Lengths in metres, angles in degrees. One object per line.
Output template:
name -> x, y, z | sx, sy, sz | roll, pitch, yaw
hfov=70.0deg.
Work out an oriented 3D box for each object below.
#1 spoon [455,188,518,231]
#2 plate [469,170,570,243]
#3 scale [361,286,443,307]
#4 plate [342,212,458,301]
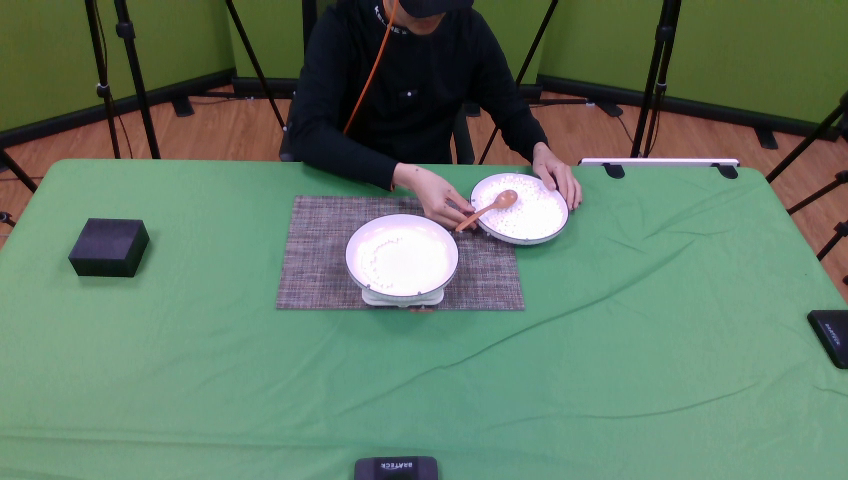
spoon -> 0.126, -0.063, 1.225 | 0.041, 0.022, 0.194 | 35, 44, 28
plate -> 0.196, -0.066, 1.259 | 0.209, 0.038, 0.208 | 3, 46, -3
scale -> -0.042, 0.040, 1.143 | 0.149, 0.032, 0.199 | 0, 46, -4
plate -> -0.043, 0.033, 1.105 | 0.208, 0.039, 0.206 | 2, 46, -2
